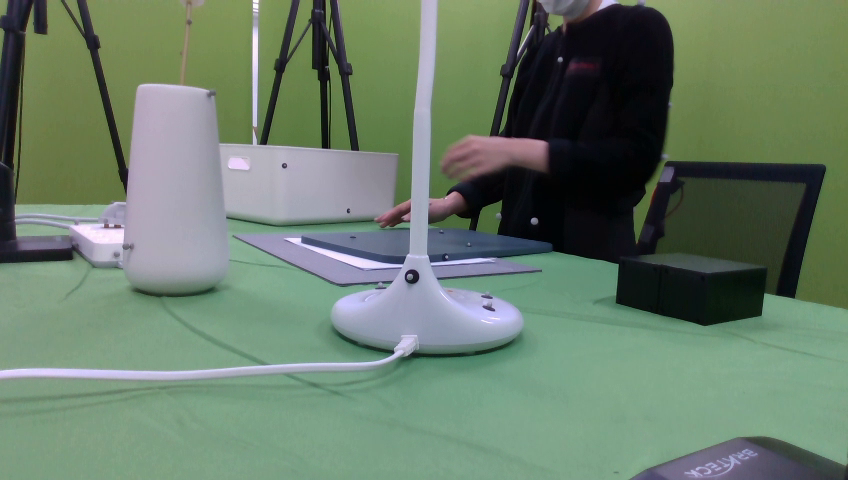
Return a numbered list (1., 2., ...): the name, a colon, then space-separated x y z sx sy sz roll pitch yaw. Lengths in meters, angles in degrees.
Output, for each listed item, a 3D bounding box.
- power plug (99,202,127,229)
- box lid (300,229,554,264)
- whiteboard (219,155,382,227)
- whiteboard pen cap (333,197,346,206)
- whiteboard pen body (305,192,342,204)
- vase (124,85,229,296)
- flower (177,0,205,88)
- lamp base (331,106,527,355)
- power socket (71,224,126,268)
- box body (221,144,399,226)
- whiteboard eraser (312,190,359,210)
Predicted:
1. power plug: -0.415 -0.026 0.848 0.073 0.052 0.035 6 5 -28
2. box lid: 0.011 0.006 0.998 0.374 0.015 0.262 -3 9 -43
3. whiteboard: -0.276 -0.119 1.376 0.216 0.143 0.307 7 10 39
4. whiteboard pen cap: -0.195 -0.089 1.390 0.033 0.018 0.018 12 12 43
5. whiteboard pen body: -0.237 -0.099 1.429 0.017 0.017 0.140 -5 14 -45
6. vase: -0.244 -0.047 0.598 0.098 0.200 0.098 3 8 0
7. flower: -0.243 -0.131 0.609 0.044 0.361 0.038 -5 -12 11
8. lamp base: 0.006 -0.012 0.478 0.161 0.180 0.179 2 10 2
9. power socket: -0.409 0.004 0.793 0.072 0.032 0.225 -2 8 -37
10. box body: -0.264 -0.129 1.380 0.253 0.160 0.366 8 9 39
11. whiteboard eraser: -0.222 -0.099 1.517 0.112 0.042 0.056 9 17 33
